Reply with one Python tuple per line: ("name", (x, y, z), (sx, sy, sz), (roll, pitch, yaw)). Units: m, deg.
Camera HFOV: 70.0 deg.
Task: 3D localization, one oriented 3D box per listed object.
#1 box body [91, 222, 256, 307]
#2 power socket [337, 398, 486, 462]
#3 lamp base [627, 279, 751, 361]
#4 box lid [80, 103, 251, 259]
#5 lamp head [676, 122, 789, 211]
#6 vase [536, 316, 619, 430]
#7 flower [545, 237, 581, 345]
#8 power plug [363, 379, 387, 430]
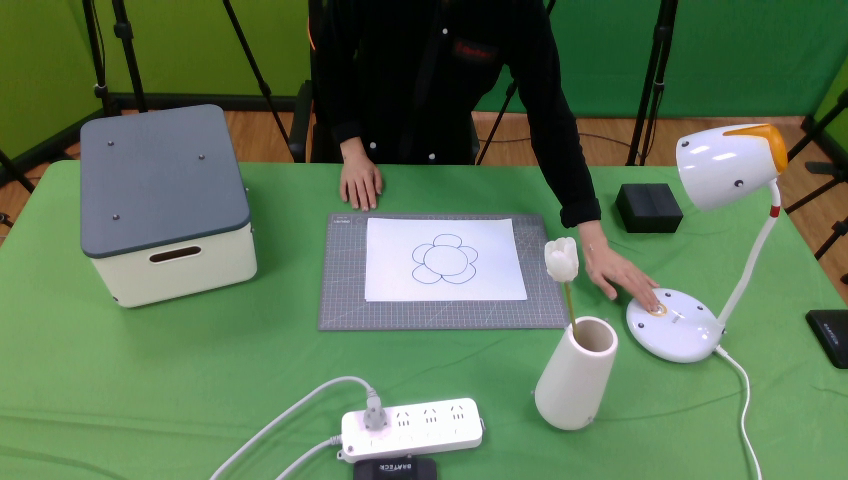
("box body", (-0.471, -0.070, 1.131), (0.254, 0.161, 0.361), (-14, 49, -17))
("power socket", (-0.018, 0.285, 0.914), (0.227, 0.033, 0.071), (-4, 46, -8))
("lamp base", (0.459, 0.100, 1.027), (0.178, 0.181, 0.160), (27, 51, 17))
("box lid", (-0.467, -0.120, 1.076), (0.264, 0.015, 0.369), (-13, 49, -17))
("lamp head", (0.423, -0.104, 0.820), (0.122, 0.113, 0.112), (-14, 33, 40))
("vase", (0.229, 0.200, 0.901), (0.098, 0.201, 0.097), (3, 46, -3))
("flower", (0.213, 0.137, 0.846), (0.038, 0.364, 0.044), (21, 55, 39))
("power plug", (-0.071, 0.252, 0.911), (0.035, 0.053, 0.072), (3, 40, 0))
